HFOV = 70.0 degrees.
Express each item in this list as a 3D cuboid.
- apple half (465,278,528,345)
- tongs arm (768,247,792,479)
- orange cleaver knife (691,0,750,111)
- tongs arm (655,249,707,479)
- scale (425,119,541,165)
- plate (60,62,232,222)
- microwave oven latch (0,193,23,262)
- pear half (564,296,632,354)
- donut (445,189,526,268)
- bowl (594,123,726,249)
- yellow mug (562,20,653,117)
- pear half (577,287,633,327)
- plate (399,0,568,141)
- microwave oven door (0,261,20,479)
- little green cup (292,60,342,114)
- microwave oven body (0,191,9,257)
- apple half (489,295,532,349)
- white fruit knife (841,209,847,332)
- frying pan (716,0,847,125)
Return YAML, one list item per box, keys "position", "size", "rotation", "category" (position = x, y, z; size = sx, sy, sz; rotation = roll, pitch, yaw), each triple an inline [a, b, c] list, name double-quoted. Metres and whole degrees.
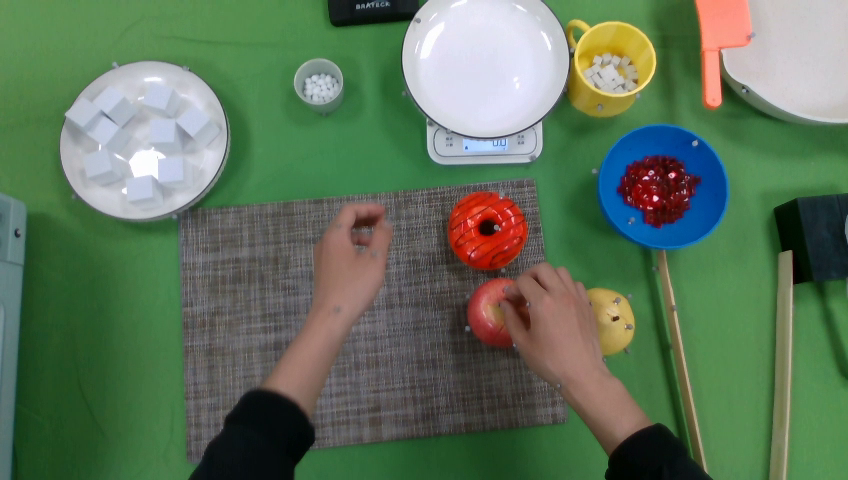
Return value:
- position: [0.077, 0.076, 0.708]
  size: [0.053, 0.075, 0.080]
  rotation: [35, 83, 10]
  category: "apple half"
- position: [0.413, 0.198, 0.717]
  size: [0.028, 0.028, 0.386]
  rotation: [10, 80, -6]
  category: "tongs arm"
- position: [0.360, -0.261, 0.743]
  size: [0.077, 0.012, 0.210]
  rotation: [-1, 80, 2]
  category: "orange cleaver knife"
- position: [0.327, 0.197, 0.712]
  size: [0.051, 0.026, 0.383]
  rotation: [-5, 81, -5]
  category: "tongs arm"
- position: [0.074, -0.198, 0.783]
  size: [0.149, 0.031, 0.200]
  rotation: [-1, 80, -1]
  category: "scale"
- position: [-0.343, -0.120, 0.761]
  size: [0.208, 0.039, 0.206]
  rotation: [0, 79, -1]
  category: "plate"
- position: [-0.500, -0.014, 0.721]
  size: [0.030, 0.029, 0.079]
  rotation: [-1, 80, -1]
  category: "microwave oven latch"
- position: [0.198, 0.101, 0.691]
  size: [0.076, 0.110, 0.056]
  rotation: [25, 81, 8]
  category: "pear half"
- position: [0.074, -0.014, 0.740]
  size: [0.099, 0.048, 0.098]
  rotation: [0, 81, 2]
  category: "donut"
- position: [0.274, -0.057, 0.736]
  size: [0.151, 0.077, 0.151]
  rotation: [0, 80, 0]
  category: "bowl"
- position: [0.221, -0.227, 0.773]
  size: [0.100, 0.064, 0.130]
  rotation: [-38, 81, -6]
  category: "yellow mug"
- position: [0.216, 0.073, 0.706]
  size: [0.070, 0.088, 0.031]
  rotation: [25, 81, 7]
  category: "pear half"
- position: [0.073, -0.219, 0.754]
  size: [0.209, 0.038, 0.208]
  rotation: [0, 79, -1]
  category: "plate"
- position: [-0.490, 0.181, 0.582]
  size: [0.039, 0.244, 0.354]
  rotation: [-3, 79, -1]
  category: "microwave oven door"
- position: [-0.134, -0.194, 0.777]
  size: [0.061, 0.039, 0.061]
  rotation: [0, 79, 0]
  category: "little green cup"
- position: [-0.638, 0.148, 0.592]
  size: [0.326, 0.261, 0.440]
  rotation: [-3, 80, -2]
  category: "microwave oven body"
- position: [0.106, 0.100, 0.707]
  size: [0.032, 0.081, 0.081]
  rotation: [29, 80, 10]
  category: "apple half"
- position: [0.506, 0.067, 0.716]
  size: [0.016, 0.027, 0.207]
  rotation: [-8, 94, -2]
  category: "white fruit knife"
- position: [0.550, -0.197, 0.751]
  size: [0.307, 0.103, 0.484]
  rotation: [-32, 74, -5]
  category: "frying pan"
